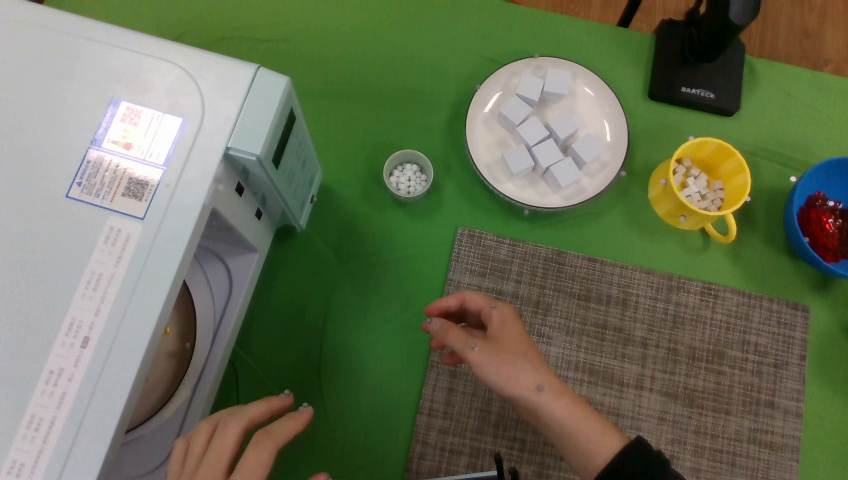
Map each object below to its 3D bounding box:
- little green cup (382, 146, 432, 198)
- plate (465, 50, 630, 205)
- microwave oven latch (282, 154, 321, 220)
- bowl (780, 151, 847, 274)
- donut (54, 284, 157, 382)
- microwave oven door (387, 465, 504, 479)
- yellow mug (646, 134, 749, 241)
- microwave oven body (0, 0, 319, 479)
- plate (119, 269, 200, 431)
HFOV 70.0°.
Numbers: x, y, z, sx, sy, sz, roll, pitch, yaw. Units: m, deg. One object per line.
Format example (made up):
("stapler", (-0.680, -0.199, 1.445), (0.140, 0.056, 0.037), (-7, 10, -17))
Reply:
("little green cup", (-0.021, -0.082, 0.748), (0.061, 0.039, 0.061), (1, 78, -3))
("plate", (0.154, -0.140, 0.773), (0.208, 0.039, 0.206), (1, 77, -3))
("microwave oven latch", (-0.147, -0.066, 0.721), (0.030, 0.029, 0.079), (20, 78, 1))
("bowl", (0.500, -0.025, 0.743), (0.151, 0.077, 0.150), (1, 77, -2))
("donut", (-0.322, 0.094, 0.617), (0.099, 0.048, 0.098), (1, 79, -3))
("microwave oven door", (-0.082, 0.257, 0.546), (0.356, 0.245, 0.039), (-6, 76, -4))
("yellow mug", (0.344, -0.060, 0.750), (0.100, 0.064, 0.130), (-24, 80, -8))
("microwave oven body", (-0.333, 0.037, 0.589), (0.326, 0.261, 0.440), (16, 77, 1))
("plate", (-0.337, 0.097, 0.629), (0.209, 0.038, 0.208), (1, 77, -3))
